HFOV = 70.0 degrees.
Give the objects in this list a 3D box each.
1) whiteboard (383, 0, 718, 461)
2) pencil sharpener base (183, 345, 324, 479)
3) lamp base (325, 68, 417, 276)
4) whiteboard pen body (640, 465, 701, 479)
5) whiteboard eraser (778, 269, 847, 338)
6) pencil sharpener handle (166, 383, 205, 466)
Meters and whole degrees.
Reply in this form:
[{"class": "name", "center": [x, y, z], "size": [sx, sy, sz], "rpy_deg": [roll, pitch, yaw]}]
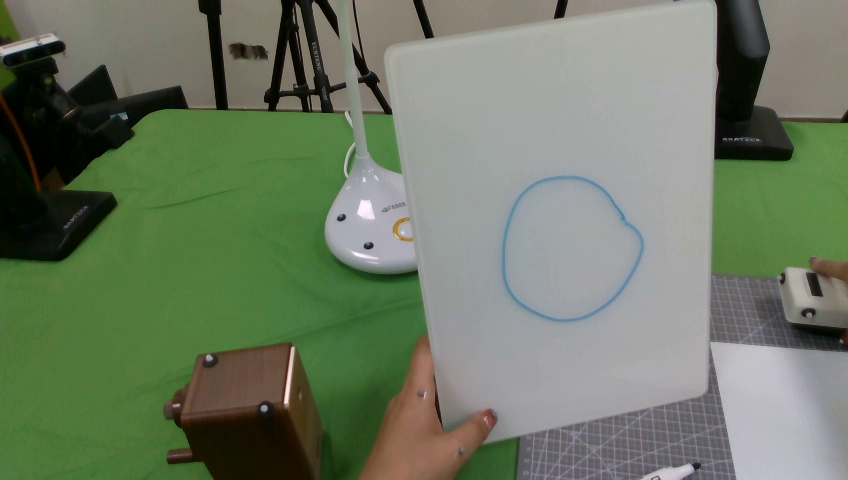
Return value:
[{"class": "whiteboard", "center": [0.094, -0.013, 0.488], "size": [0.217, 0.307, 0.143], "rpy_deg": [-10, 20, -4]}, {"class": "pencil sharpener base", "center": [-0.122, 0.136, 0.442], "size": [0.077, 0.108, 0.060], "rpy_deg": [-7, 39, -1]}, {"class": "lamp base", "center": [-0.046, -0.081, 0.642], "size": [0.161, 0.182, 0.177], "rpy_deg": [-29, 42, -25]}, {"class": "whiteboard pen body", "center": [0.134, 0.182, 0.422], "size": [0.141, 0.017, 0.017], "rpy_deg": [-16, 40, -13]}, {"class": "whiteboard eraser", "center": [0.373, 0.058, 0.524], "size": [0.112, 0.042, 0.055], "rpy_deg": [6, 42, 14]}, {"class": "pencil sharpener handle", "center": [-0.173, 0.134, 0.431], "size": [0.030, 0.068, 0.035], "rpy_deg": [-7, 27, 0]}]
